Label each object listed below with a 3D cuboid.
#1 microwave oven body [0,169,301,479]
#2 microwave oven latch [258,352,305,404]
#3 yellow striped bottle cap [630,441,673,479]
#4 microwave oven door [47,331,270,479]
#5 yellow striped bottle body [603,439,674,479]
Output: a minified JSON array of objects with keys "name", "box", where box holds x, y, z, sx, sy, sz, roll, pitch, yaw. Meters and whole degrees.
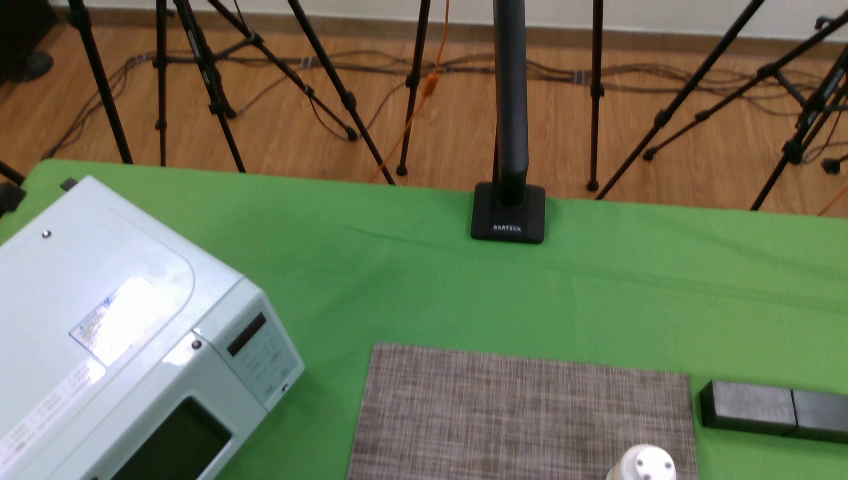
[{"name":"microwave oven body","box":[-0.425,0.190,0.728,0.324,0.262,0.440,30,64,19]},{"name":"microwave oven latch","box":[-0.198,0.186,0.836,0.030,0.030,0.079,31,65,20]},{"name":"yellow striped bottle cap","box":[0.255,0.250,0.681,0.044,0.019,0.044,-1,60,3]},{"name":"microwave oven door","box":[-0.330,0.283,0.658,0.039,0.246,0.355,29,63,20]},{"name":"yellow striped bottle body","box":[0.257,0.278,0.725,0.063,0.121,0.062,-1,57,2]}]
